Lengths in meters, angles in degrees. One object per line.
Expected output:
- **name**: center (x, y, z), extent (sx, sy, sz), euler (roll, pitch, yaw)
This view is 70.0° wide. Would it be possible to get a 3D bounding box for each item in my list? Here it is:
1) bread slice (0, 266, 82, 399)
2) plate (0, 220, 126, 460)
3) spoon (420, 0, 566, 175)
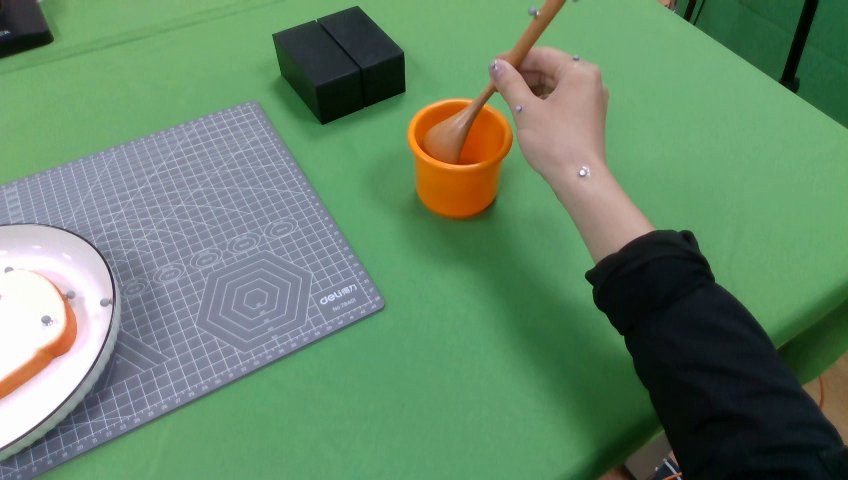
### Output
- **bread slice**: center (-0.333, 0.075, 0.456), extent (0.131, 0.019, 0.104), euler (-39, 63, -24)
- **plate**: center (-0.328, 0.076, 0.452), extent (0.209, 0.038, 0.207), euler (1, 53, -1)
- **spoon**: center (0.053, -0.125, 0.489), extent (0.041, 0.194, 0.022), euler (50, 33, 15)
